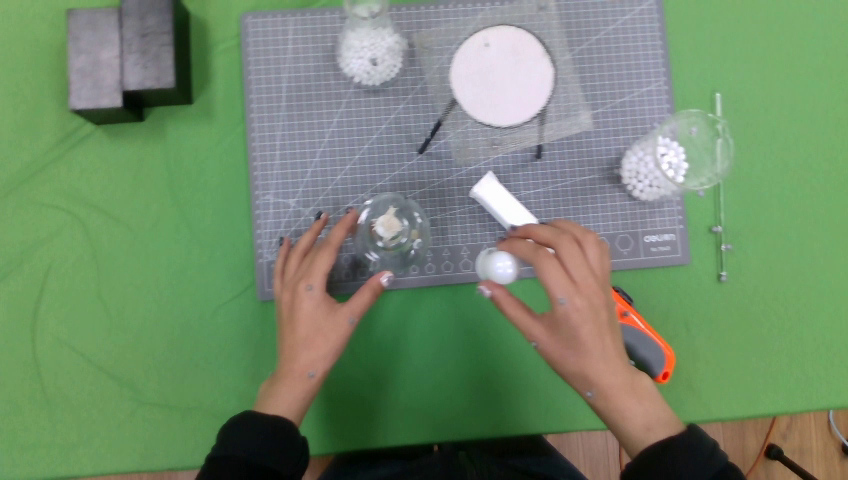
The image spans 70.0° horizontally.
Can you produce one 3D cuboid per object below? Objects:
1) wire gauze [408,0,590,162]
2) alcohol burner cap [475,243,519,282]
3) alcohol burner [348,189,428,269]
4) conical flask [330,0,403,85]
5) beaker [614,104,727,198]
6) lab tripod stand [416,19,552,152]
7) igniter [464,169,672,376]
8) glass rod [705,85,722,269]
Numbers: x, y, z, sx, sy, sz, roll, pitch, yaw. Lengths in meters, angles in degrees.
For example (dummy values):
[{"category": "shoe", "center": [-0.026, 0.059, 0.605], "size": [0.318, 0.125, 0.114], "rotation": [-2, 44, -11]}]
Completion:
[{"category": "wire gauze", "center": [0.063, -0.137, 0.505], "size": [0.125, 0.011, 0.121], "rotation": [-18, 87, -3]}, {"category": "alcohol burner cap", "center": [0.062, 0.018, 0.501], "size": [0.034, 0.048, 0.034], "rotation": [0, 89, -8]}, {"category": "alcohol burner", "center": [-0.035, -0.012, 0.569], "size": [0.078, 0.119, 0.077], "rotation": [0, 85, 0]}, {"category": "conical flask", "center": [-0.058, -0.202, 0.576], "size": [0.075, 0.122, 0.075], "rotation": [0, 85, -2]}, {"category": "beaker", "center": [0.238, -0.084, 0.594], "size": [0.084, 0.100, 0.074], "rotation": [-42, 89, -5]}, {"category": "lab tripod stand", "center": [0.059, -0.134, 0.572], "size": [0.148, 0.131, 0.148], "rotation": [0, 88, -2]}, {"category": "igniter", "center": [0.150, 0.033, 0.620], "size": [0.276, 0.025, 0.057], "rotation": [44, 68, 0]}, {"category": "glass rod", "center": [0.309, -0.068, 0.645], "size": [0.008, 0.008, 0.199], "rotation": [-1, 86, -3]}]
